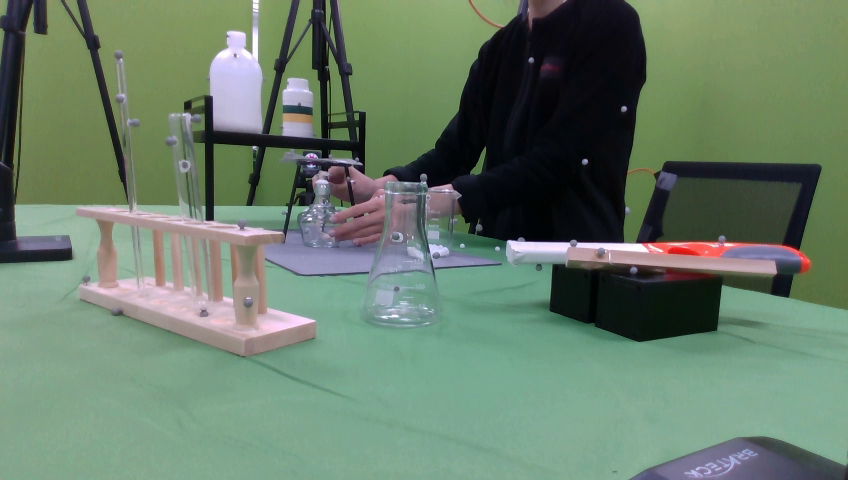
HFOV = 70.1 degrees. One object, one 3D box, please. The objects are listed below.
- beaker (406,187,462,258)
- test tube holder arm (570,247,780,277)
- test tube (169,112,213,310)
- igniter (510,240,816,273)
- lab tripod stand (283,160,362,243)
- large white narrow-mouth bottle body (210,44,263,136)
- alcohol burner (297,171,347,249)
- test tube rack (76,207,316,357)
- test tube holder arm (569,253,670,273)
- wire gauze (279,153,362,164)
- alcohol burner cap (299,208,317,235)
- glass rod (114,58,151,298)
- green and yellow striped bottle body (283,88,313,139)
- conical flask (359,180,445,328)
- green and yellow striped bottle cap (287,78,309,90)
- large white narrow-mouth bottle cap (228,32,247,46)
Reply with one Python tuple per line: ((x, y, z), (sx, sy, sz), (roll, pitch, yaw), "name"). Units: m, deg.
((0.013, -0.026, 0.893), (0.084, 0.100, 0.074), (3, 8, -2), "beaker")
((0.217, 0.019, 0.525), (0.178, 0.015, 0.013), (3, -23, 3), "test tube holder arm")
((-0.175, -0.020, 0.455), (0.017, 0.150, 0.017), (-3, 9, 1), "test tube")
((0.220, 0.015, 0.565), (0.277, 0.025, 0.057), (2, 16, 0), "igniter")
((-0.167, -0.064, 0.992), (0.148, 0.131, 0.148), (1, 7, 0), "lab tripod stand")
((-0.369, -0.305, 1.194), (0.102, 0.194, 0.102), (3, 8, 0), "large white narrow-mouth bottle body")
((-0.158, -0.047, 0.940), (0.078, 0.119, 0.078), (0, 6, 0), "alcohol burner")
((-0.196, 0.023, 0.500), (0.241, 0.085, 0.067), (8, 9, 36), "test tube rack")
((0.172, 0.019, 0.532), (0.088, 0.015, 0.010), (3, -23, 3), "test tube holder arm")
((-0.171, -0.131, 0.987), (0.125, 0.011, 0.121), (1, 6, -16), "wire gauze")
((-0.213, -0.035, 1.110), (0.034, 0.048, 0.034), (3, 7, 0), "alcohol burner cap")
((-0.236, -0.044, 0.492), (0.008, 0.199, 0.008), (0, 15, 0), "glass rod")
((-0.266, -0.275, 1.275), (0.063, 0.119, 0.063), (3, 7, 0), "green and yellow striped bottle body")
((-0.017, 0.010, 0.522), (0.075, 0.122, 0.075), (2, 7, 0), "conical flask")
((-0.265, -0.326, 1.268), (0.045, 0.020, 0.045), (4, 6, 0), "green and yellow striped bottle cap")
((-0.364, -0.391, 1.180), (0.038, 0.024, 0.037), (3, 8, 0), "large white narrow-mouth bottle cap")
